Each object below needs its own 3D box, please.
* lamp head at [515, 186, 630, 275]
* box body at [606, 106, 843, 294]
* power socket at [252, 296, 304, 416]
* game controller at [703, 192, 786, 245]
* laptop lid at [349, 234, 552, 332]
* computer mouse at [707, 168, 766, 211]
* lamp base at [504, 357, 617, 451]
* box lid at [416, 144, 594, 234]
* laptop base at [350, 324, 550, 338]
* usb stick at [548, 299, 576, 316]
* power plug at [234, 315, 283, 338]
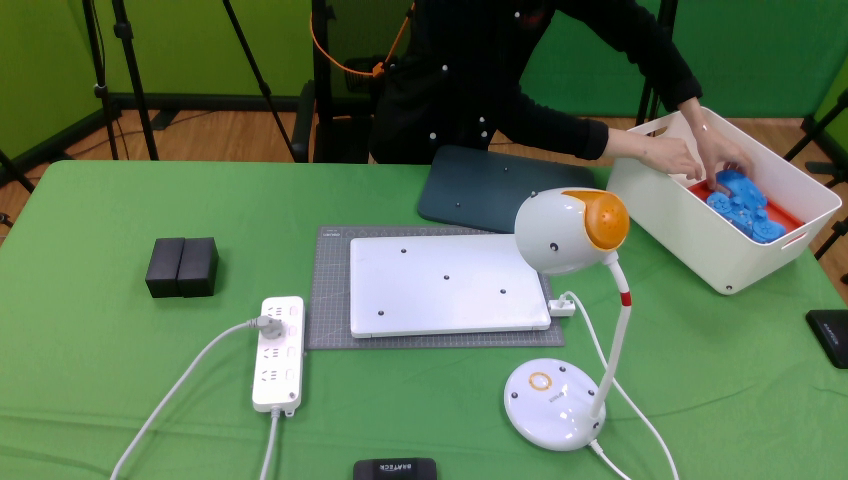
[{"bbox_3d":[0.188,-0.013,0.728,0.112,0.112,0.122,-25,9,-25],"label":"lamp head"},{"bbox_3d":[0.582,-0.089,1.230,0.254,0.161,0.361,-22,52,-23],"label":"box body"},{"bbox_3d":[-0.238,0.181,0.997,0.072,0.033,0.225,-3,47,-5],"label":"power socket"},{"bbox_3d":[0.612,-0.044,1.167,0.154,0.052,0.097,36,57,26],"label":"game controller"},{"bbox_3d":[0.040,0.071,1.118,0.357,0.013,0.240,0,44,-5],"label":"laptop lid"},{"bbox_3d":[0.636,-0.103,1.229,0.063,0.041,0.116,-26,60,-27],"label":"computer mouse"},{"bbox_3d":[0.220,0.211,0.903,0.160,0.181,0.178,-33,59,-30],"label":"lamp base"},{"bbox_3d":[0.186,-0.104,1.321,0.371,0.015,0.262,11,46,7],"label":"box lid"},{"bbox_3d":[0.039,0.081,1.125,0.355,0.023,0.234,-2,43,-6],"label":"laptop base"},{"bbox_3d":[0.239,0.121,1.084,0.059,0.027,0.021,-1,51,-1],"label":"usb stick"},{"bbox_3d":[-0.269,0.143,1.000,0.072,0.053,0.035,4,47,3],"label":"power plug"}]
